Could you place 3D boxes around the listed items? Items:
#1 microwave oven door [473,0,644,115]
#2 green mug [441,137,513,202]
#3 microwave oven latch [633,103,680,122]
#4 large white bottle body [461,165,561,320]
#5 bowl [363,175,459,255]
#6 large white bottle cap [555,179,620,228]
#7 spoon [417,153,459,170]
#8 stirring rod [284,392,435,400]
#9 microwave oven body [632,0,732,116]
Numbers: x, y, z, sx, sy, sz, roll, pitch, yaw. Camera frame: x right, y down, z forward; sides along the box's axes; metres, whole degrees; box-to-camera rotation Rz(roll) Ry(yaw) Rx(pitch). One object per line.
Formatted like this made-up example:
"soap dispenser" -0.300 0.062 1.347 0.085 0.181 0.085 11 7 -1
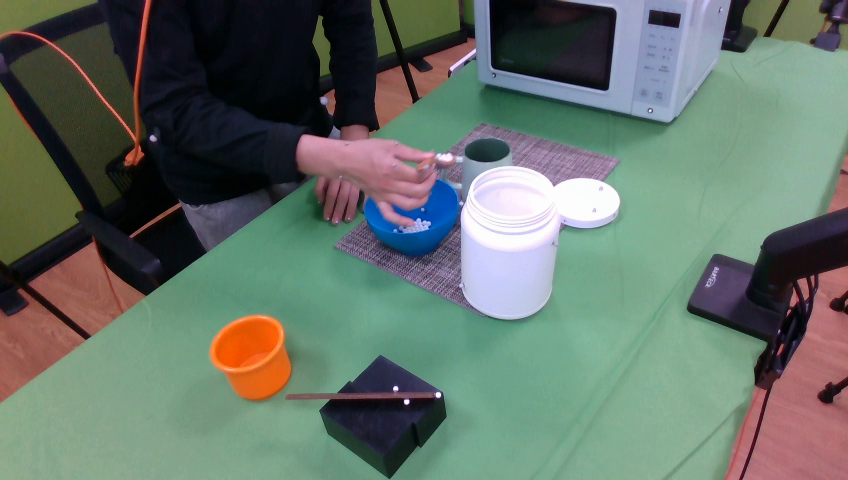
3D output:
"microwave oven door" 0.257 -0.396 1.199 0.353 0.245 0.039 21 48 29
"green mug" 0.091 -0.108 1.012 0.125 0.105 0.092 2 42 11
"microwave oven latch" 0.444 -0.249 1.157 0.078 0.029 0.030 21 49 30
"large white bottle body" 0.115 0.004 0.816 0.130 0.185 0.130 -2 43 2
"bowl" -0.016 -0.029 0.955 0.151 0.077 0.150 -4 40 3
"large white bottle cap" 0.265 -0.062 1.001 0.115 0.018 0.114 -3 41 3
"spoon" 0.015 -0.110 0.840 0.041 0.021 0.194 -2 8 14
"stirring rod" -0.075 0.180 0.698 0.176 0.006 0.014 -2 6 6
"microwave oven body" 0.377 -0.462 1.267 0.438 0.261 0.327 21 48 30
